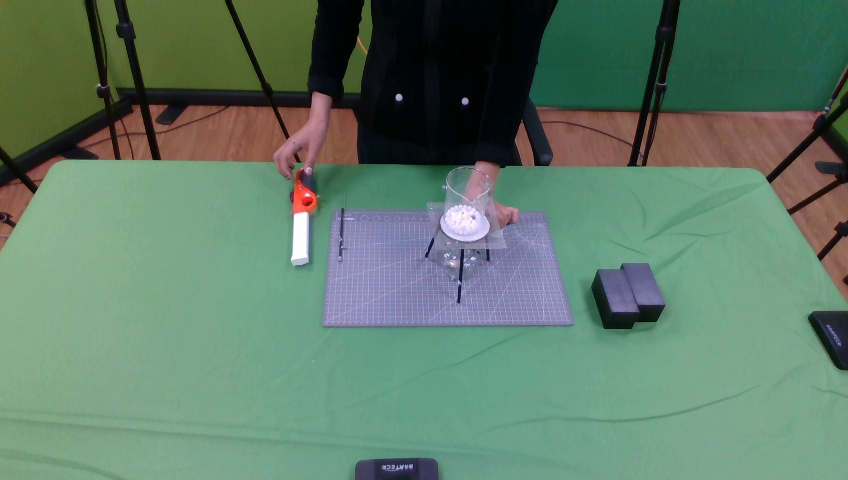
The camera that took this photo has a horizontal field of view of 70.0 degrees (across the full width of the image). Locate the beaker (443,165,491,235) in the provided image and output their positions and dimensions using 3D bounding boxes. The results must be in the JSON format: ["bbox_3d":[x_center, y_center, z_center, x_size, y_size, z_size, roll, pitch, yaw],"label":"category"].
[{"bbox_3d":[0.070,-0.062,1.023,0.074,0.101,0.083,-2,48,-6],"label":"beaker"}]

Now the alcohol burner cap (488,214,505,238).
[{"bbox_3d":[0.147,-0.031,1.221,0.034,0.048,0.033,3,46,-2],"label":"alcohol burner cap"}]

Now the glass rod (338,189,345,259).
[{"bbox_3d":[-0.166,-0.036,1.227,0.008,0.008,0.198,-1,46,-4],"label":"glass rod"}]

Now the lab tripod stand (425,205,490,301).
[{"bbox_3d":[0.069,0.016,1.106,0.148,0.132,0.147,3,47,-3],"label":"lab tripod stand"}]

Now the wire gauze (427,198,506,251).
[{"bbox_3d":[0.072,-0.028,1.057,0.125,0.011,0.120,-1,49,-8],"label":"wire gauze"}]

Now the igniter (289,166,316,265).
[{"bbox_3d":[-0.248,-0.058,1.233,0.057,0.025,0.274,-9,47,1],"label":"igniter"}]

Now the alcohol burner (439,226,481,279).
[{"bbox_3d":[0.068,0.017,1.119,0.078,0.119,0.077,3,47,-3],"label":"alcohol burner"}]
